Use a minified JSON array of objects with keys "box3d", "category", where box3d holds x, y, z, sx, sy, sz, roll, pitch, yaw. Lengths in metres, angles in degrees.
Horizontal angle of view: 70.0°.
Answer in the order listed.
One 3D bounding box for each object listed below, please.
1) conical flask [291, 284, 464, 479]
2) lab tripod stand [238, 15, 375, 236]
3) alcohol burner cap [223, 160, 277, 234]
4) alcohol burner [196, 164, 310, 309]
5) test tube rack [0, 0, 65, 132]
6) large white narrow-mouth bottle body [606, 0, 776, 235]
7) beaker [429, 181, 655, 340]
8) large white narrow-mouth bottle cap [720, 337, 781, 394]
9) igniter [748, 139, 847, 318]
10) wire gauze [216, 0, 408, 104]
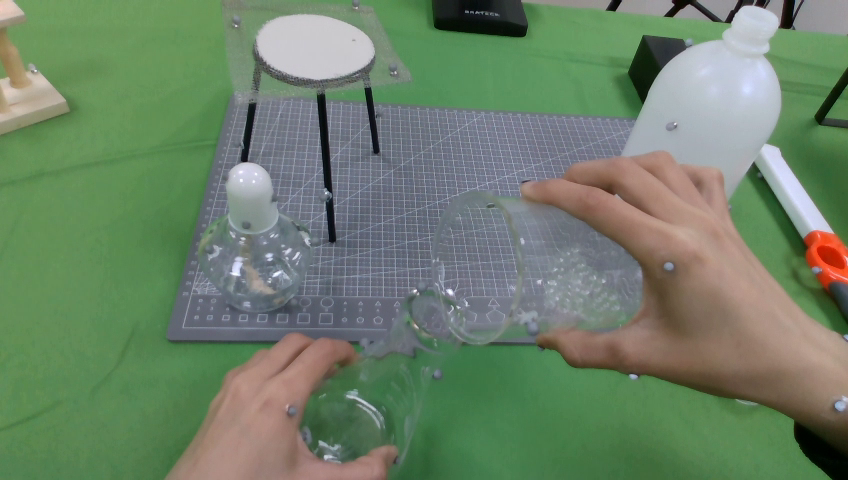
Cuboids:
[{"box3d":[-0.022,0.079,0.346,0.076,0.122,0.074,23,35,-17],"category":"conical flask"},{"box3d":[-0.089,-0.098,0.494,0.149,0.132,0.147,6,48,-6],"category":"lab tripod stand"},{"box3d":[-0.114,-0.030,0.391,0.034,0.048,0.033,4,53,-5],"category":"alcohol burner cap"},{"box3d":[-0.118,-0.006,0.418,0.078,0.120,0.077,6,46,-6],"category":"alcohol burner"},{"box3d":[-0.440,-0.114,0.487,0.242,0.086,0.066,-33,60,-33],"category":"test tube rack"},{"box3d":[0.229,-0.101,0.507,0.102,0.196,0.101,4,47,-4],"category":"large white narrow-mouth bottle body"},{"box3d":[0.062,0.012,0.317,0.101,0.084,0.073,-1,50,-30],"category":"beaker"},{"box3d":[0.244,0.094,0.453,0.038,0.024,0.037,4,47,-4],"category":"large white narrow-mouth bottle cap"},{"box3d":[0.361,0.000,0.554,0.057,0.025,0.273,10,46,-14],"category":"igniter"},{"box3d":[-0.085,-0.145,0.446,0.122,0.011,0.123,-9,52,-17],"category":"wire gauze"}]
